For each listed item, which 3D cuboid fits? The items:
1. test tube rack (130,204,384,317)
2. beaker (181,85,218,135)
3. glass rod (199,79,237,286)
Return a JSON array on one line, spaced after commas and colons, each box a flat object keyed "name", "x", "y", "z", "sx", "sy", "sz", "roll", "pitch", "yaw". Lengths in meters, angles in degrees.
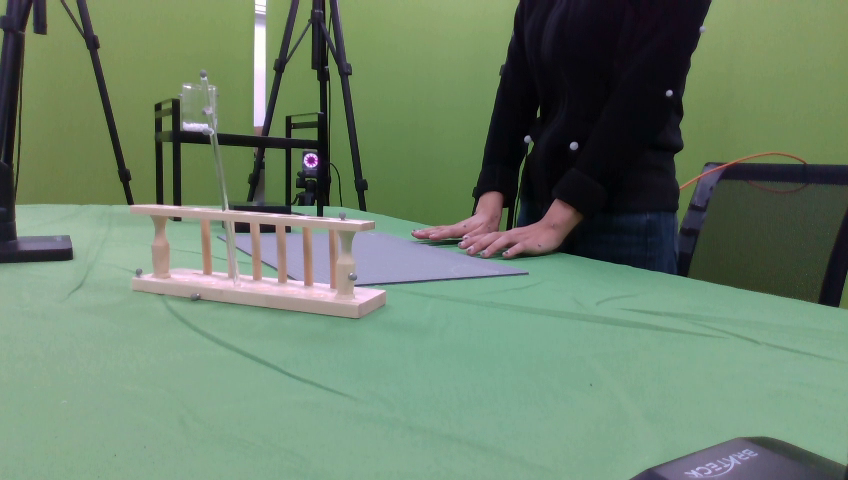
[{"name": "test tube rack", "x": -0.163, "y": 0.013, "z": 0.589, "sx": 0.242, "sy": 0.085, "sz": 0.067, "roll": 4, "pitch": 9, "yaw": 17}, {"name": "beaker", "x": -0.476, "y": -0.276, "z": 1.290, "sx": 0.074, "sy": 0.100, "sz": 0.083, "roll": -4, "pitch": 10, "yaw": -36}, {"name": "glass rod", "x": -0.194, "y": -0.050, "z": 0.569, "sx": 0.008, "sy": 0.199, "sz": 0.008, "roll": -6, "pitch": 7, "yaw": 1}]
